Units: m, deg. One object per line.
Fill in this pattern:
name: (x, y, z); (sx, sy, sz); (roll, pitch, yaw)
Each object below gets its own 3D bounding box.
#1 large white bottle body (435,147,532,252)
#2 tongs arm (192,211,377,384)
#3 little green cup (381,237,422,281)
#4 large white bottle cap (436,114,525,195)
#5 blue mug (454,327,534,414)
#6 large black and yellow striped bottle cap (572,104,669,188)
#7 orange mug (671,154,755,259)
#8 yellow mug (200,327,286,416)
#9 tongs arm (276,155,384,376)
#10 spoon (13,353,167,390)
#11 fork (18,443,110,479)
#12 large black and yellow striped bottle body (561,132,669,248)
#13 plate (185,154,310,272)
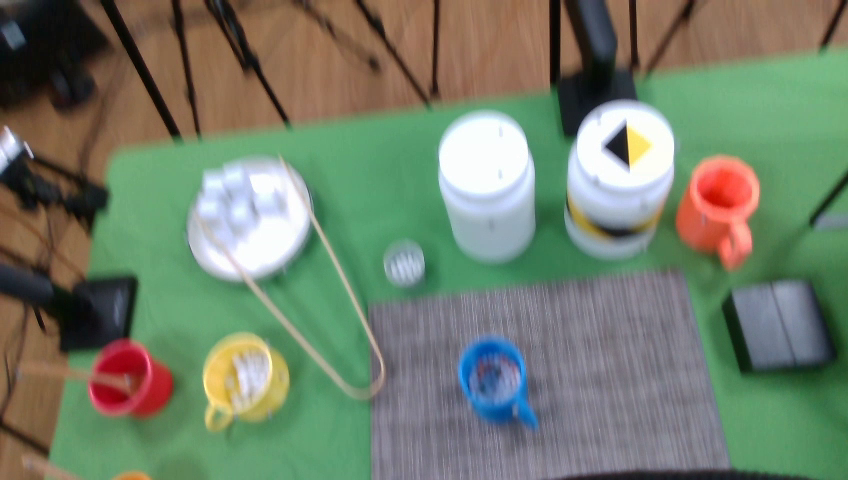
large white bottle body: (0.086, -0.076, 0.850); (0.130, 0.186, 0.129); (-4, 65, 9)
tongs arm: (-0.213, 0.075, 0.894); (0.051, 0.027, 0.382); (-41, 73, -13)
little green cup: (-0.032, 0.031, 0.904); (0.061, 0.039, 0.061); (-3, 66, 8)
large white bottle cap: (0.072, -0.110, 0.774); (0.114, 0.018, 0.114); (-4, 65, 9)
blue mug: (0.097, 0.177, 0.774); (0.082, 0.107, 0.115); (-42, 66, -10)
large black and yellow striped bottle cap: (0.242, -0.118, 0.749); (0.115, 0.019, 0.114); (-3, 66, 7)
orange mug: (0.400, -0.041, 0.828); (0.083, 0.102, 0.125); (-16, 60, 3)
yellow mug: (-0.264, 0.192, 0.856); (0.099, 0.064, 0.130); (30, 75, 20)
tongs arm: (-0.146, 0.026, 0.908); (0.028, 0.028, 0.384); (-26, 71, -12)
spoon: (-0.465, 0.179, 0.854); (0.195, 0.021, 0.041); (19, 65, -30)
fork: (-0.419, 0.309, 0.783); (0.209, 0.018, 0.028); (36, 65, -23)
large black and yellow striped bottle body: (0.256, -0.081, 0.824); (0.130, 0.185, 0.129); (-4, 65, 9)
plate: (-0.281, -0.042, 0.981); (0.207, 0.039, 0.206); (-4, 66, 8)
